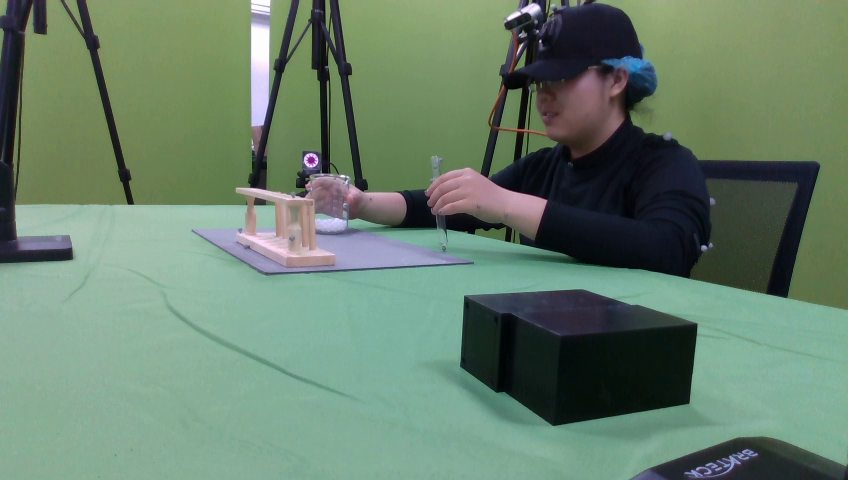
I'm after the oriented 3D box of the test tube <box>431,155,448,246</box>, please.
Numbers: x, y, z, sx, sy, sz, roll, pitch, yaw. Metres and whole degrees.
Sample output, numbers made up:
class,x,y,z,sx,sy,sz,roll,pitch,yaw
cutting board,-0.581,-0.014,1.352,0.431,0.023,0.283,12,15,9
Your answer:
class,x,y,z,sx,sy,sz,roll,pitch,yaw
test tube,0.025,-0.064,0.979,0.017,0.150,0.017,-5,-7,0

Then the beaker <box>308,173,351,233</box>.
class,x,y,z,sx,sy,sz,roll,pitch,yaw
beaker,-0.169,-0.067,1.097,0.083,0.100,0.074,17,19,40

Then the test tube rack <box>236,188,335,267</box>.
class,x,y,z,sx,sy,sz,roll,pitch,yaw
test tube rack,-0.202,-0.024,0.855,0.067,0.085,0.241,-2,8,-31
